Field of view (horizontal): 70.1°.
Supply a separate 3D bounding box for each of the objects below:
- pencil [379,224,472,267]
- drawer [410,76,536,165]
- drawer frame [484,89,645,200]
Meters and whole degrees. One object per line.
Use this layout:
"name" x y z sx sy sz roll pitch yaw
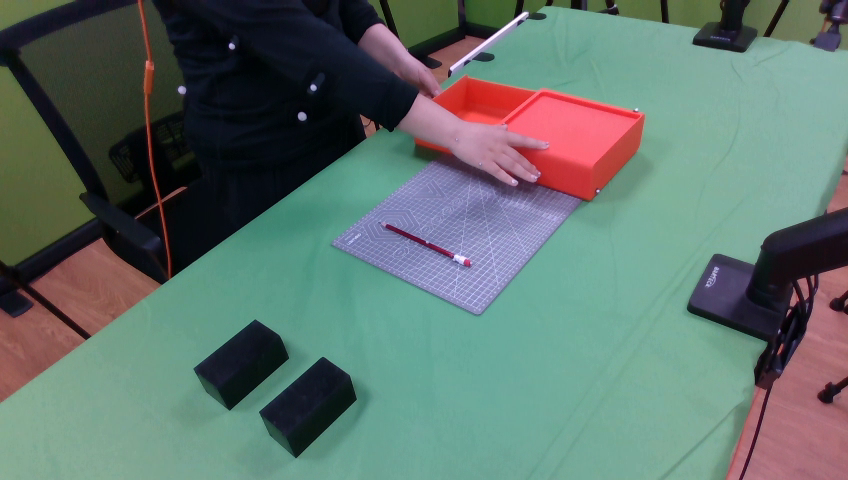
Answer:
"pencil" -0.002 0.005 0.970 0.192 0.012 0.012 24 49 33
"drawer" 0.114 -0.237 1.192 0.210 0.073 0.195 23 48 32
"drawer frame" 0.253 -0.180 1.094 0.212 0.083 0.202 24 48 31
